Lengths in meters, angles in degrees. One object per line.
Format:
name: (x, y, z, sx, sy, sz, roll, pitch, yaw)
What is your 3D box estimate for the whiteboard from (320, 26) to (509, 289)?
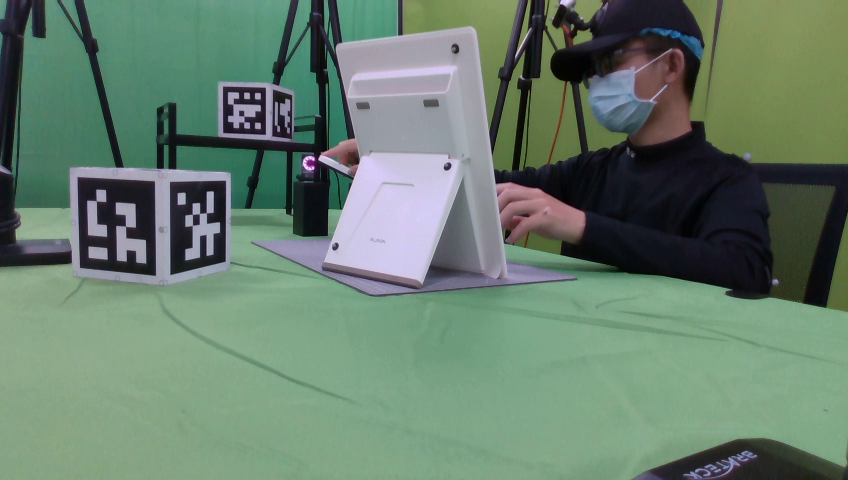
whiteboard: (-0.046, -0.076, 0.721, 0.216, 0.305, 0.144, 9, 29, 39)

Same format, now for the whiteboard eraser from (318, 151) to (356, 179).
whiteboard eraser: (-0.159, -0.139, 1.151, 0.102, 0.019, 0.041, 29, 6, -39)
